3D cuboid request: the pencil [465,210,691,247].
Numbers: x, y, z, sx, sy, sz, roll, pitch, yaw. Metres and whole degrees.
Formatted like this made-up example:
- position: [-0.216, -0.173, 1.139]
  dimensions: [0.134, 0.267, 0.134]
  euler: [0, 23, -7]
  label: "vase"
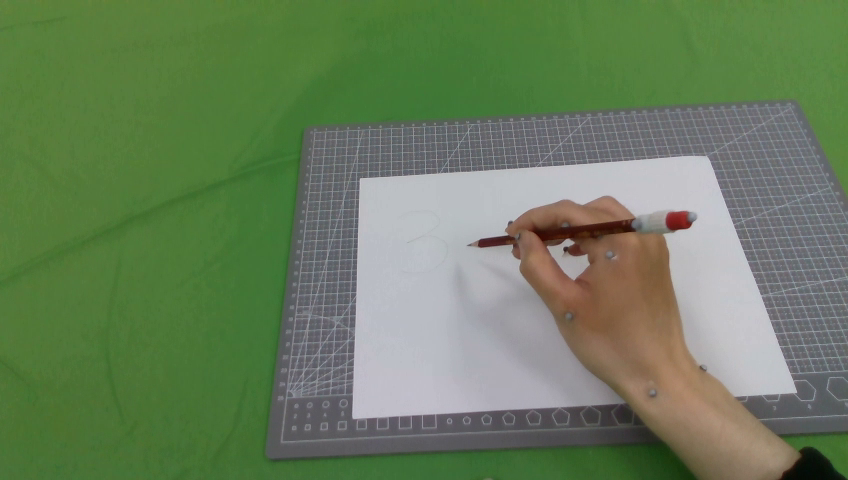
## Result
- position: [0.080, -0.003, 0.378]
  dimensions: [0.012, 0.193, 0.012]
  euler: [2, 85, -30]
  label: "pencil"
